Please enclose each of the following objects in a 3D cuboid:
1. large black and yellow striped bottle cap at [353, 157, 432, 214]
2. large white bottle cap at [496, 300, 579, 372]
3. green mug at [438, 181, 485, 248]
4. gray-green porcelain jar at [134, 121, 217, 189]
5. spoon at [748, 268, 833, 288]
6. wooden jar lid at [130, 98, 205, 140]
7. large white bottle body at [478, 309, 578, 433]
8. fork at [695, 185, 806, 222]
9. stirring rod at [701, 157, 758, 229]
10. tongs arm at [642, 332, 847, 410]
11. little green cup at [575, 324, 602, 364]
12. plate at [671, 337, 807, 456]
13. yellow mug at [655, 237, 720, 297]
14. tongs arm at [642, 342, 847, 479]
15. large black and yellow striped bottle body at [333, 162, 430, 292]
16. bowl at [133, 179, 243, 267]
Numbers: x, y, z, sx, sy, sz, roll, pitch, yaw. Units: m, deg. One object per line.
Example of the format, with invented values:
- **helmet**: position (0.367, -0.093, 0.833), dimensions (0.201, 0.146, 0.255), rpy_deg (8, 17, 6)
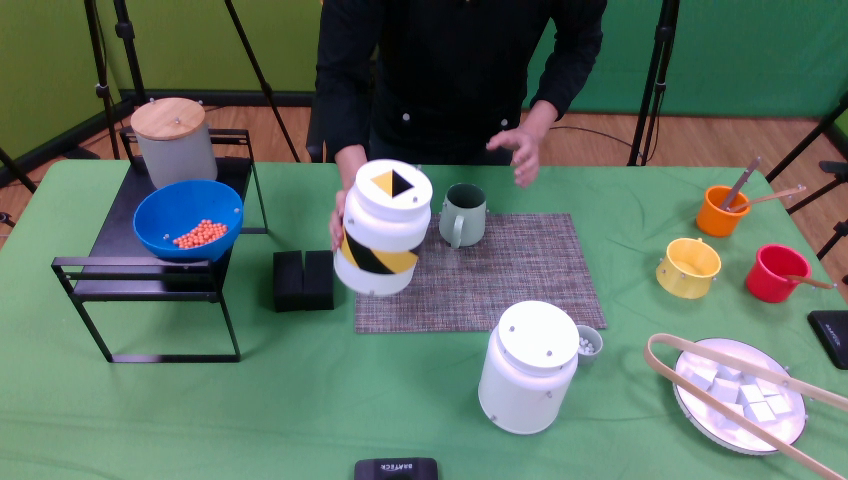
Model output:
- **large black and yellow striped bottle cap**: position (-0.045, -0.082, 0.882), dimensions (0.115, 0.019, 0.114), rpy_deg (9, 41, -8)
- **large white bottle cap**: position (0.160, 0.133, 0.852), dimensions (0.115, 0.018, 0.114), rpy_deg (3, 46, -3)
- **green mug**: position (0.071, -0.039, 1.178), dimensions (0.092, 0.105, 0.124), rpy_deg (12, 47, 7)
- **gray-green porcelain jar**: position (-0.397, -0.141, 0.979), dimensions (0.106, 0.127, 0.105), rpy_deg (2, 47, -2)
- **spoon**: position (0.660, 0.068, 1.098), dimensions (0.041, 0.193, 0.021), rpy_deg (-4, 91, -6)
- **wooden jar lid**: position (-0.393, -0.183, 0.934), dimensions (0.108, 0.021, 0.107), rpy_deg (3, 44, -2)
- **large white bottle body**: position (0.155, 0.192, 0.913), dimensions (0.131, 0.185, 0.130), rpy_deg (2, 46, -2)
- **fork**: position (0.658, -0.074, 1.230), dimensions (0.207, 0.019, 0.028), rpy_deg (-23, 36, 37)
- **stirring rod**: position (0.634, -0.096, 1.257), dimensions (0.014, 0.006, 0.176), rpy_deg (38, 97, 30)
- **tongs arm**: position (0.546, 0.227, 0.968), dimensions (0.384, 0.026, 0.050), rpy_deg (22, 52, 13)
- **little green cup**: position (0.269, 0.180, 1.036), dimensions (0.061, 0.039, 0.061), rpy_deg (2, 45, -2)
- **plate**: position (0.504, 0.254, 0.984), dimensions (0.208, 0.039, 0.206), rpy_deg (2, 46, -2)
- **yellow mug**: position (0.509, 0.041, 1.167), dimensions (0.099, 0.064, 0.130), rpy_deg (24, 48, 18)
- **tongs arm**: position (0.504, 0.279, 0.918), dimensions (0.386, 0.028, 0.028), rpy_deg (33, 59, 22)
- **large black and yellow striped bottle body**: position (-0.065, -0.023, 0.938), dimensions (0.131, 0.184, 0.130), rpy_deg (10, 41, -9)
- **bowl**: position (-0.339, -0.013, 0.895), dimensions (0.151, 0.077, 0.150), rpy_deg (2, 46, -2)
